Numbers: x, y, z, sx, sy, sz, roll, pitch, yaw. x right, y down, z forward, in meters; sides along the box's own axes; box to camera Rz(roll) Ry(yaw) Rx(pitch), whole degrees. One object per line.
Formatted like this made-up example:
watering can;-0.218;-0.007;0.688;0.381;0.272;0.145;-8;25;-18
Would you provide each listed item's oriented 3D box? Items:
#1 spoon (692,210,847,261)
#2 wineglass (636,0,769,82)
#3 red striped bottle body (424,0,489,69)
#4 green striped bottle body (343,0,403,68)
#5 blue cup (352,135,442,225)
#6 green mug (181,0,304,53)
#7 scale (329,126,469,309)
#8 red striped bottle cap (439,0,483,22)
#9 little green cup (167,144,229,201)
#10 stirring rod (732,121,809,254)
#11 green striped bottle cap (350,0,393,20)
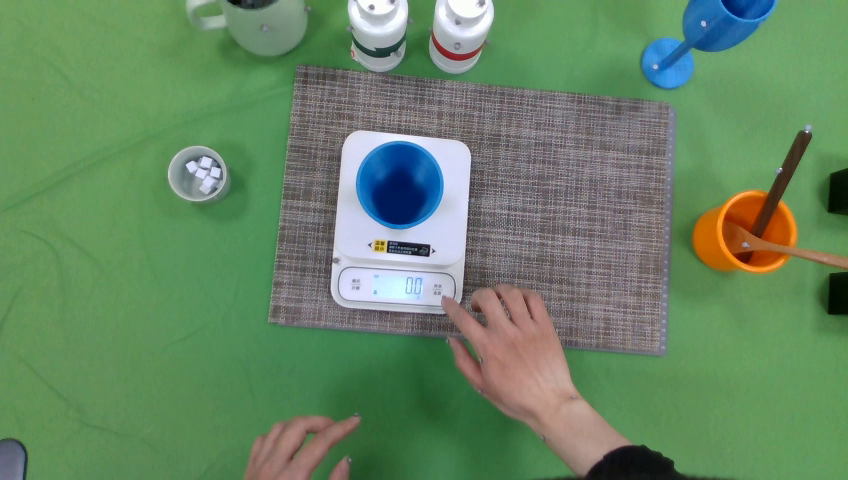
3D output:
spoon;0.389;0.003;0.657;0.022;0.192;0.041;19;90;-45
wineglass;0.297;-0.235;0.661;0.074;0.172;0.073;0;84;-3
red striped bottle body;0.035;-0.241;0.669;0.063;0.120;0.063;0;83;-4
green striped bottle body;-0.055;-0.241;0.663;0.063;0.119;0.063;0;83;-4
blue cup;-0.028;-0.053;0.621;0.093;0.100;0.092;0;86;-4
green mug;-0.199;-0.259;0.661;0.125;0.105;0.092;-17;86;-5
scale;-0.027;-0.026;0.684;0.149;0.031;0.200;4;85;-3
red striped bottle cap;0.039;-0.247;0.617;0.044;0.018;0.044;1;83;-7
little green cup;-0.248;-0.072;0.672;0.061;0.038;0.061;1;84;-5
stirring rod;0.374;-0.051;0.661;0.014;0.177;0.006;11;43;10
green striped bottle cap;-0.053;-0.247;0.611;0.044;0.020;0.044;1;84;-4
